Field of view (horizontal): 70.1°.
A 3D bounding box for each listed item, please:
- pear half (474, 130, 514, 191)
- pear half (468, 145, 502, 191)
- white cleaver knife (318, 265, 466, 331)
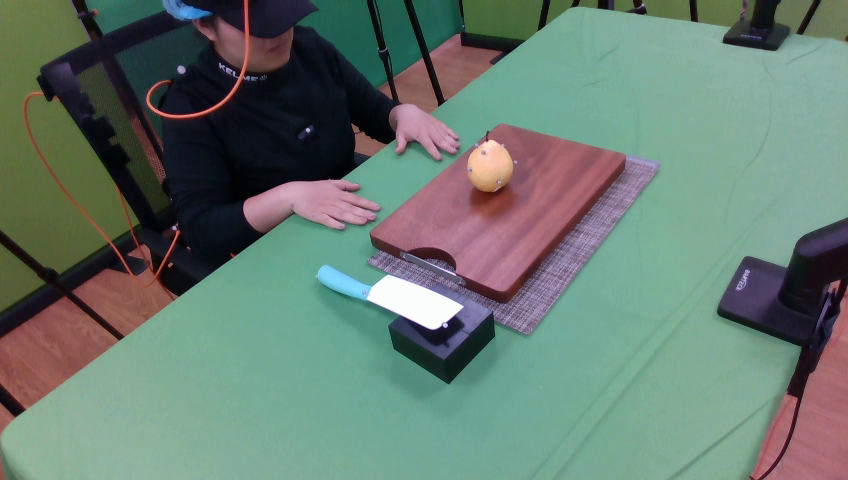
[{"bbox_3d":[0.119,-0.142,1.020,0.076,0.110,0.056,26,51,30],"label":"pear half"},{"bbox_3d":[0.097,-0.116,1.008,0.070,0.088,0.031,28,53,26],"label":"pear half"},{"bbox_3d":[-0.056,0.075,0.871,0.284,0.021,0.066,17,42,43],"label":"white cleaver knife"}]
